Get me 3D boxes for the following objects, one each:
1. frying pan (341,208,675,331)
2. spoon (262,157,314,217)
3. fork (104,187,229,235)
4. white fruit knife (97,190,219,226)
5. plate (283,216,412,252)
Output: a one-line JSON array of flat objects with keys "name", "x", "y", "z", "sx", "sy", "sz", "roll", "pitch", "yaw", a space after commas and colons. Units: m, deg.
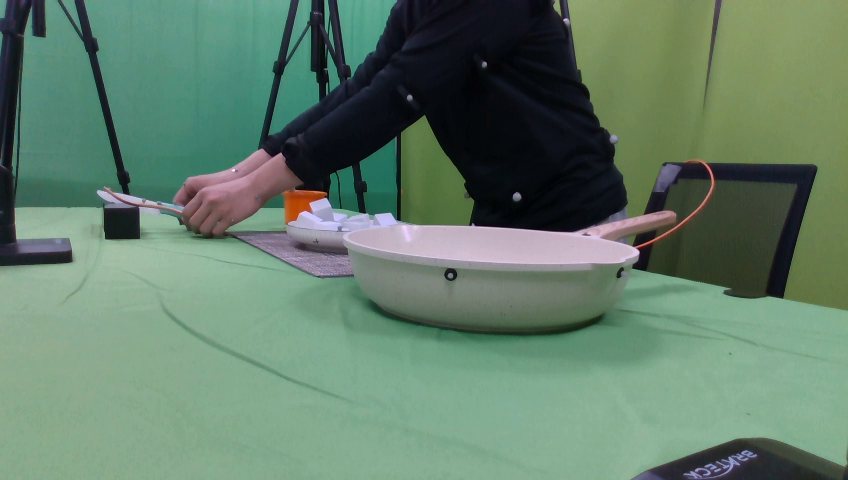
[{"name": "frying pan", "x": 0.144, "y": 0.008, "z": 0.677, "sx": 0.490, "sy": 0.102, "sz": 0.305, "roll": -13, "pitch": 16, "yaw": -36}, {"name": "spoon", "x": -0.276, "y": -0.103, "z": 1.251, "sx": 0.021, "sy": 0.193, "sz": 0.042, "roll": -42, "pitch": -15, "yaw": 20}, {"name": "fork", "x": -0.430, "y": -0.046, "z": 1.022, "sx": 0.208, "sy": 0.018, "sz": 0.028, "roll": 19, "pitch": 16, "yaw": -28}, {"name": "white fruit knife", "x": -0.468, "y": -0.056, "z": 1.079, "sx": 0.208, "sy": 0.027, "sz": 0.016, "roll": 15, "pitch": -2, "yaw": -29}, {"name": "plate", "x": -0.119, "y": -0.009, "z": 0.967, "sx": 0.208, "sy": 0.039, "sz": 0.207, "roll": 3, "pitch": 7, "yaw": 0}]
